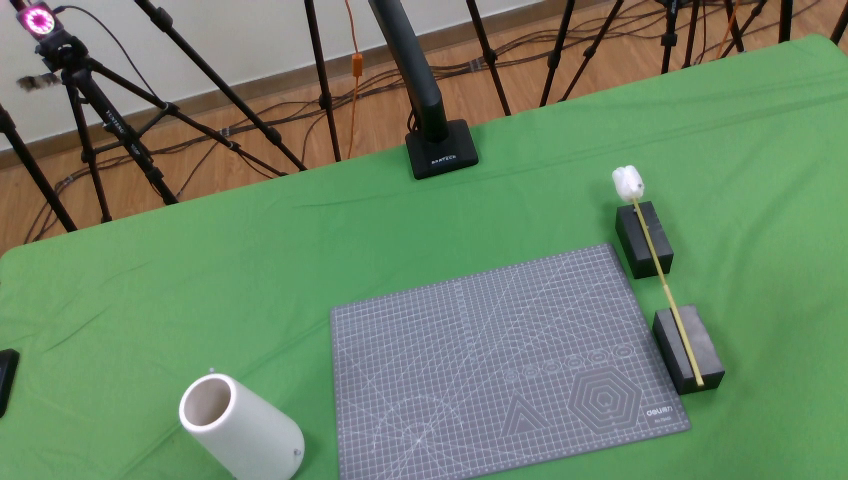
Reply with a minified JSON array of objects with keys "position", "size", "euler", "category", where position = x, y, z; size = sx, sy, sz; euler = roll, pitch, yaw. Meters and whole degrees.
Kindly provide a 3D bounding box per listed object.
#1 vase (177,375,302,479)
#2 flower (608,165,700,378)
[{"position":[-0.223,0.238,0.749],"size":[0.098,0.202,0.097],"euler":[-5,53,8],"category":"vase"},{"position":[0.316,0.028,0.834],"size":[0.044,0.038,0.358],"euler":[11,48,-17],"category":"flower"}]
